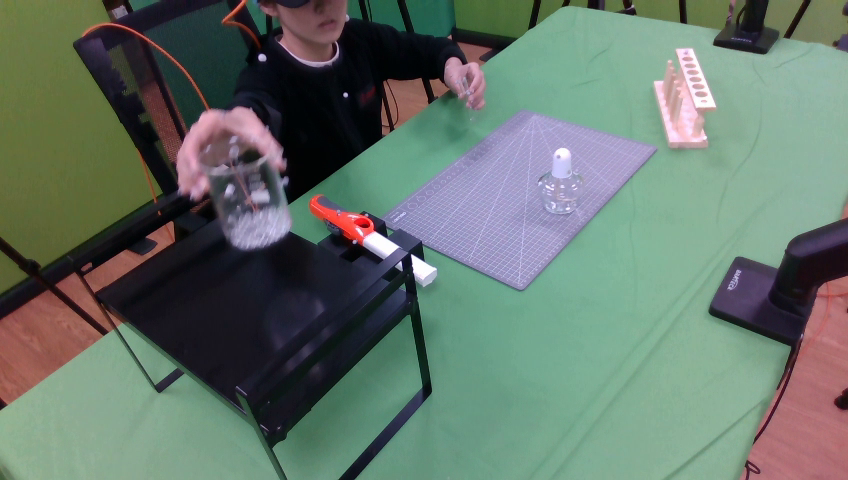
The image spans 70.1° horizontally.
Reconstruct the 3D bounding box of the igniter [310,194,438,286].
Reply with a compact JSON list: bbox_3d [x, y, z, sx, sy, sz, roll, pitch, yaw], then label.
[{"bbox_3d":[-0.087,-0.007,0.921,0.274,0.025,0.057,31,50,34],"label":"igniter"}]

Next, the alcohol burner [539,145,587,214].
[{"bbox_3d":[0.226,-0.102,0.986,0.078,0.119,0.077,-6,41,6],"label":"alcohol burner"}]

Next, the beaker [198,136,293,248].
[{"bbox_3d":[-0.179,-0.049,0.631,0.084,0.100,0.073,-12,37,-9],"label":"beaker"}]

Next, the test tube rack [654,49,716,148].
[{"bbox_3d":[0.502,-0.281,1.176,0.066,0.085,0.241,1,41,11],"label":"test tube rack"}]

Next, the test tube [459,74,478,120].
[{"bbox_3d":[0.087,-0.271,1.162,0.017,0.151,0.017,-4,71,12],"label":"test tube"}]

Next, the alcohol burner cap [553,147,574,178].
[{"bbox_3d":[0.224,-0.125,0.965,0.034,0.048,0.033,-5,44,5],"label":"alcohol burner cap"}]
